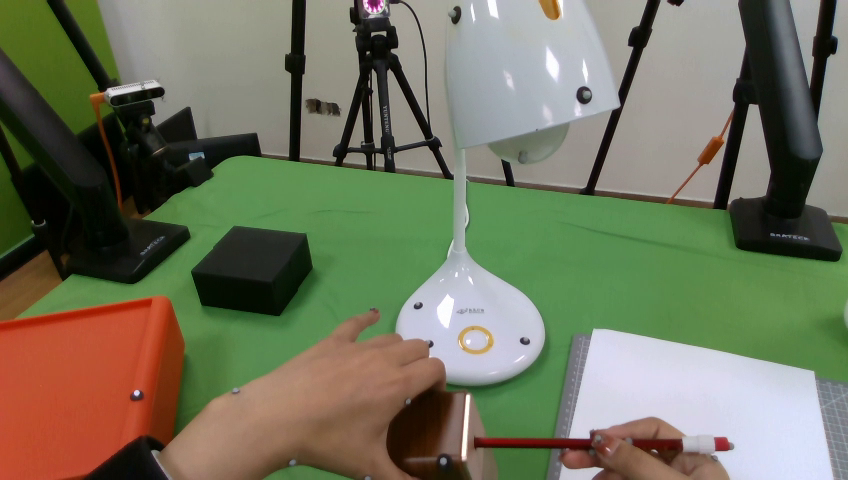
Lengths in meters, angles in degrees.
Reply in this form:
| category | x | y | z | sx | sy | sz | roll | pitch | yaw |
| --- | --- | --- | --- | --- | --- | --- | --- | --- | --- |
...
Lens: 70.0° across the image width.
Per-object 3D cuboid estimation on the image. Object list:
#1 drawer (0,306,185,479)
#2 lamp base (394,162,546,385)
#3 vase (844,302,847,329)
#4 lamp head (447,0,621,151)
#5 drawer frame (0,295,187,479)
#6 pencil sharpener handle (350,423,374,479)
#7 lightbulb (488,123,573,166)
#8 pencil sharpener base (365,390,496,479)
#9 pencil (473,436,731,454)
| category | x | y | z | sx | sy | sz | roll | pitch | yaw |
| --- | --- | --- | --- | --- | --- | --- | --- | --- | --- |
| drawer | -0.324 | 0.157 | 0.527 | 0.195 | 0.074 | 0.209 | -9 | 33 | -9 |
| lamp base | 0.043 | 0.024 | 0.617 | 0.161 | 0.182 | 0.177 | -9 | 32 | -10 |
| vase | 0.479 | 0.022 | 0.574 | 0.098 | 0.201 | 0.097 | -2 | 32 | 2 |
| lamp head | 0.062 | -0.128 | 0.404 | 0.112 | 0.123 | 0.112 | -16 | 4 | 2 |
| drawer frame | -0.327 | 0.155 | 0.528 | 0.202 | 0.083 | 0.211 | -10 | 33 | -10 |
| pencil sharpener handle | -0.045 | 0.167 | 0.456 | 0.030 | 0.068 | 0.035 | -8 | 34 | 15 |
| lightbulb | 0.067 | -0.103 | 0.402 | 0.059 | 0.108 | 0.059 | -5 | 9 | 1 |
| pencil sharpener base | 0.007 | 0.168 | 0.452 | 0.076 | 0.108 | 0.061 | -8 | 39 | 14 |
| pencil | 0.103 | 0.139 | 0.411 | 0.193 | 0.012 | 0.012 | -4 | 32 | 13 |
